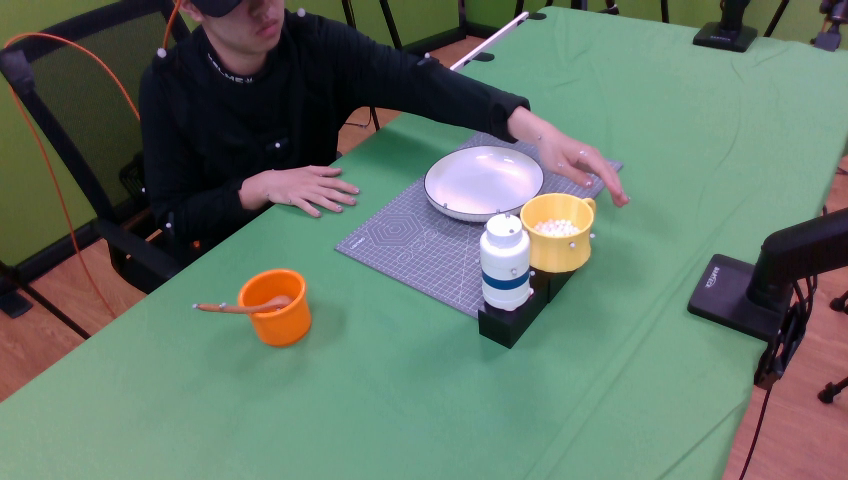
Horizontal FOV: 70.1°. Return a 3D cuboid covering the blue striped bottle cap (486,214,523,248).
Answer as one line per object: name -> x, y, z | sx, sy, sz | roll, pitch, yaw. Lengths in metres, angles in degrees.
blue striped bottle cap -> 0.098, -0.011, 0.735 | 0.044, 0.021, 0.044 | -3, 38, 3

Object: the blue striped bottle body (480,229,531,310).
blue striped bottle body -> 0.104, 0.027, 0.769 | 0.063, 0.121, 0.063 | -4, 40, 4

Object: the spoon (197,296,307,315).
spoon -> -0.220, 0.088, 0.792 | 0.041, 0.021, 0.195 | 20, 7, 25

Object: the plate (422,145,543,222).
plate -> 0.101, -0.094, 1.048 | 0.207, 0.039, 0.206 | -4, 41, 4

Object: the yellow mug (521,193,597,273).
yellow mug -> 0.197, -0.019, 0.852 | 0.131, 0.064, 0.099 | -30, 46, -25
